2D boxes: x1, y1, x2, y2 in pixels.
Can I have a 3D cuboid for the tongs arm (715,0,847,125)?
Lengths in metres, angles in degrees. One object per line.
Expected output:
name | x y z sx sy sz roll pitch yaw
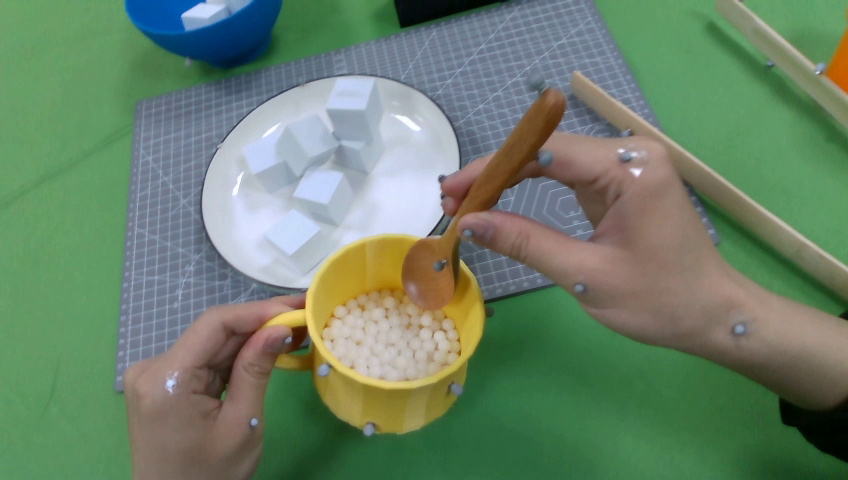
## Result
tongs arm | 0.313 -0.057 0.425 0.051 0.027 0.381 -26 61 -6

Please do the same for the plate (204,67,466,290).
plate | -0.068 -0.050 0.483 0.207 0.039 0.206 -4 60 8

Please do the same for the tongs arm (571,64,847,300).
tongs arm | 0.244 -0.016 0.416 0.028 0.028 0.384 -36 62 -15

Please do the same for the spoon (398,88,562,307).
spoon | 0.018 -0.008 0.288 0.021 0.194 0.041 -25 76 -22

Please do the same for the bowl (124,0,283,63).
bowl | -0.197 -0.227 0.587 0.151 0.077 0.150 -5 60 8

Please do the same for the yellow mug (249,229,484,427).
yellow mug | -0.034 0.053 0.353 0.131 0.064 0.099 -6 55 -11
